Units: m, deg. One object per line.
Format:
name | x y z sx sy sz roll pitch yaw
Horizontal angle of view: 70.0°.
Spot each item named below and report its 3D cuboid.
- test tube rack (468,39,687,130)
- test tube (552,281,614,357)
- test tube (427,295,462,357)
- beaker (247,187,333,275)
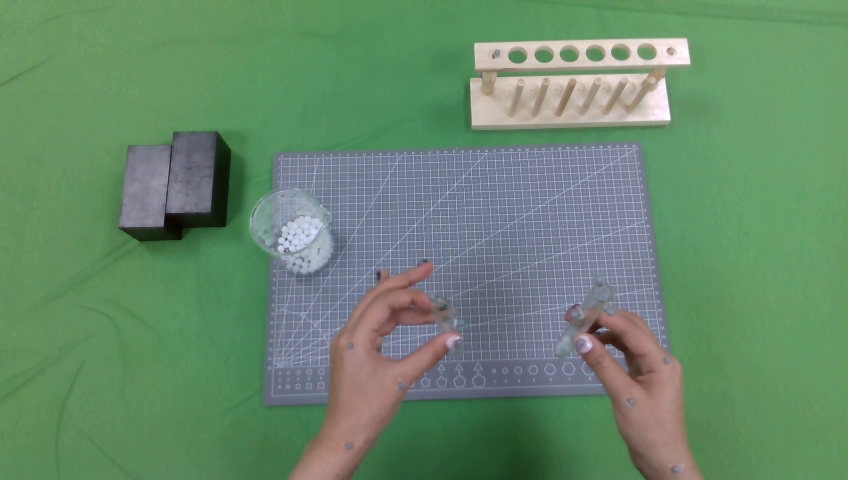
test tube rack | 0.177 -0.184 0.722 0.242 0.085 0.066 -1 74 0
test tube | 0.125 0.069 0.492 0.017 0.151 0.017 0 64 0
test tube | 0.020 0.077 0.517 0.017 0.152 0.017 -3 66 7
beaker | -0.138 -0.006 0.661 0.084 0.101 0.073 -9 74 -3
